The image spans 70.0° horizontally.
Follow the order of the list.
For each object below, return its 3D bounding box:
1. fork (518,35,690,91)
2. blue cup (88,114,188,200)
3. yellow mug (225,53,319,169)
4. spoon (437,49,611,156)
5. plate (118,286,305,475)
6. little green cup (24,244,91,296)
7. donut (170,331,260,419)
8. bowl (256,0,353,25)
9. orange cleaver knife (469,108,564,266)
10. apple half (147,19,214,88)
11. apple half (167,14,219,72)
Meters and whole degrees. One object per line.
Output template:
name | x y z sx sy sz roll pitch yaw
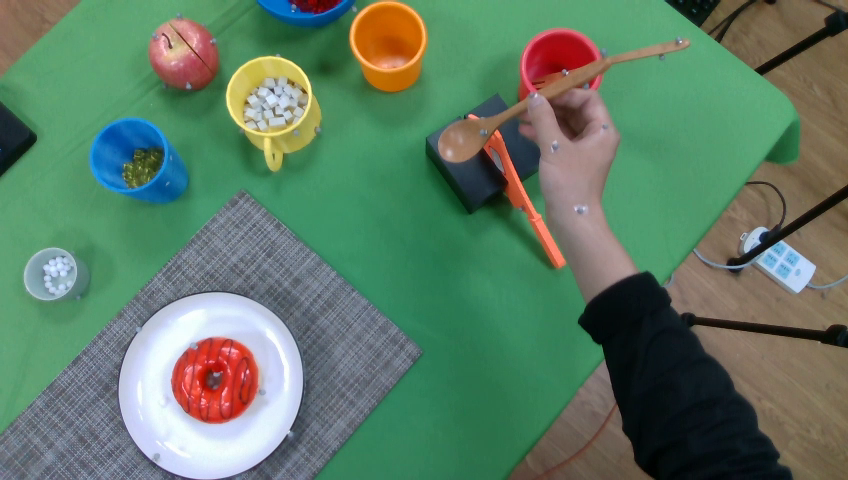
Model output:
fork | 0.202 -0.207 0.710 0.206 0.019 0.028 -7 62 40
blue cup | -0.321 -0.087 0.704 0.093 0.100 0.092 0 81 -2
yellow mug | -0.183 -0.151 0.734 0.100 0.064 0.130 0 81 -2
spoon | 0.086 -0.126 0.565 0.022 0.193 0.041 -9 81 -45
plate | -0.238 0.157 0.693 0.209 0.038 0.208 0 81 -1
little green cup | -0.428 0.038 0.713 0.061 0.039 0.061 0 80 0
donut | -0.234 0.151 0.682 0.099 0.048 0.098 0 82 0
bowl | -0.145 -0.330 0.759 0.151 0.077 0.151 0 81 -1
orange cleaver knife | 0.109 -0.061 0.716 0.012 0.076 0.213 -33 112 -4
apple half | -0.303 -0.219 0.741 0.053 0.075 0.080 -43 87 -4
apple half | -0.274 -0.246 0.744 0.033 0.081 0.081 -42 83 -6
